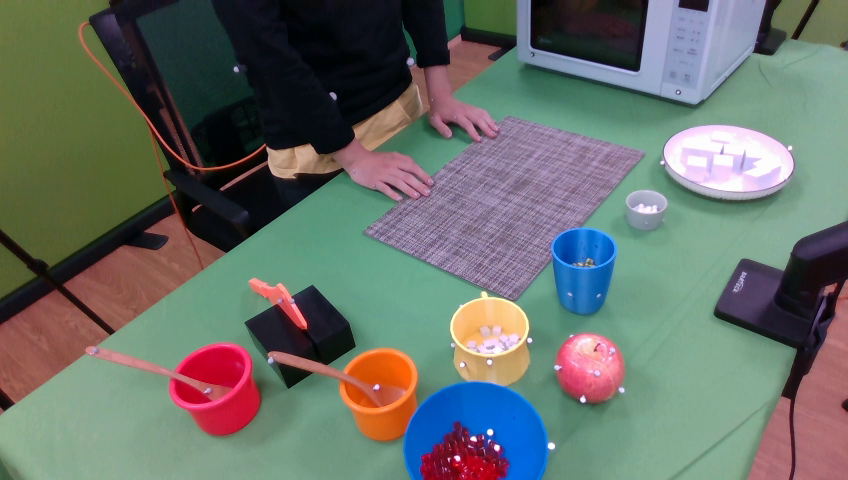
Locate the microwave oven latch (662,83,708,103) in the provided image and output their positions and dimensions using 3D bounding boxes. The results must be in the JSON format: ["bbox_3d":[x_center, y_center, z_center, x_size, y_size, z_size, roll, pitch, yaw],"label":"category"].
[{"bbox_3d":[0.518,-0.296,1.204,0.078,0.029,0.030,27,52,35],"label":"microwave oven latch"}]

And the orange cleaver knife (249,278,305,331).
[{"bbox_3d":[-0.210,0.089,0.855,0.012,0.077,0.210,-28,15,-25],"label":"orange cleaver knife"}]

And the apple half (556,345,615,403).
[{"bbox_3d":[0.181,0.167,0.709,0.080,0.081,0.033,29,50,35],"label":"apple half"}]

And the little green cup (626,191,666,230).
[{"bbox_3d":[0.352,-0.046,0.963,0.061,0.039,0.061,-4,40,4],"label":"little green cup"}]

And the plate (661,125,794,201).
[{"bbox_3d":[0.514,-0.128,1.035,0.207,0.039,0.206,-4,40,4],"label":"plate"}]

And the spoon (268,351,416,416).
[{"bbox_3d":[-0.090,0.162,0.699,0.021,0.195,0.041,-44,31,28],"label":"spoon"}]

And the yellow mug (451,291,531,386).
[{"bbox_3d":[0.085,0.120,0.786,0.100,0.064,0.130,-6,39,1],"label":"yellow mug"}]

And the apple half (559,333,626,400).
[{"bbox_3d":[0.209,0.147,0.730,0.080,0.075,0.053,26,47,38],"label":"apple half"}]

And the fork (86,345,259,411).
[{"bbox_3d":[-0.298,0.166,0.728,0.209,0.018,0.028,28,45,-23],"label":"fork"}]

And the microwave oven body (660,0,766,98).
[{"bbox_3d":[0.472,-0.513,1.317,0.438,0.261,0.327,26,51,34],"label":"microwave oven body"}]

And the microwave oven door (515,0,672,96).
[{"bbox_3d":[0.343,-0.454,1.259,0.353,0.245,0.039,26,51,33],"label":"microwave oven door"}]

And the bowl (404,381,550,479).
[{"bbox_3d":[0.058,0.235,0.645,0.151,0.077,0.150,-4,39,4],"label":"bowl"}]

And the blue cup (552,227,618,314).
[{"bbox_3d":[0.218,0.047,0.825,0.092,0.100,0.092,-6,40,5],"label":"blue cup"}]

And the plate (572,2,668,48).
[{"bbox_3d":[0.441,-0.483,1.366,0.209,0.038,0.208,-4,41,4],"label":"plate"}]
